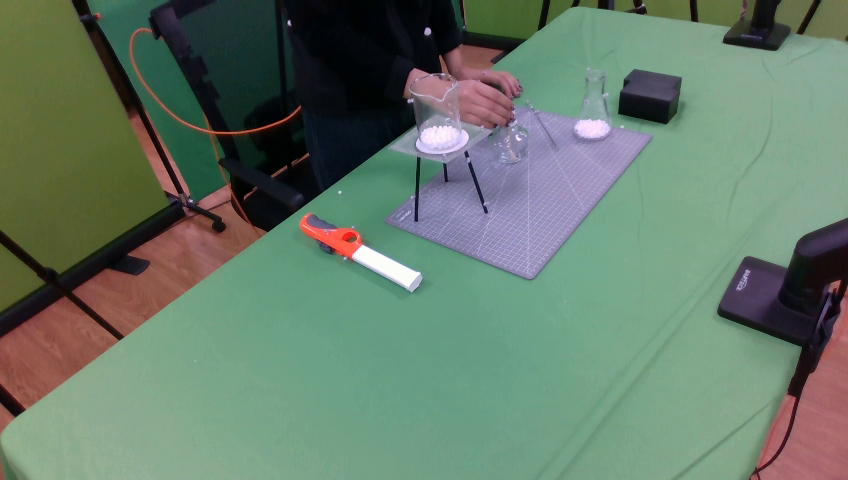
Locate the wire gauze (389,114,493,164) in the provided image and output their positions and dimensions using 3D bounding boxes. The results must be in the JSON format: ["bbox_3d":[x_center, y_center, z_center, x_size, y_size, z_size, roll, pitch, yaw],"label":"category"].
[{"bbox_3d":[0.027,-0.163,0.978,0.120,0.011,0.125,22,50,36],"label":"wire gauze"}]

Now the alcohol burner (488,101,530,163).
[{"bbox_3d":[0.157,-0.204,1.119,0.078,0.119,0.077,-5,38,5],"label":"alcohol burner"}]

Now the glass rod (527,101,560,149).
[{"bbox_3d":[0.240,-0.237,1.223,0.008,0.008,0.198,-12,40,-2],"label":"glass rod"}]

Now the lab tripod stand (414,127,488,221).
[{"bbox_3d":[0.035,-0.114,1.021,0.148,0.132,0.147,-7,39,6],"label":"lab tripod stand"}]

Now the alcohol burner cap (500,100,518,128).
[{"bbox_3d":[0.153,-0.231,1.095,0.034,0.048,0.033,-6,44,7],"label":"alcohol burner cap"}]

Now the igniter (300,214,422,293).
[{"bbox_3d":[-0.113,0.016,0.983,0.274,0.025,0.057,26,62,35],"label":"igniter"}]

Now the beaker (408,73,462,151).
[{"bbox_3d":[0.021,-0.196,0.943,0.074,0.101,0.083,-17,39,-7],"label":"beaker"}]

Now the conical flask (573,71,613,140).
[{"bbox_3d":[0.321,-0.256,1.142,0.075,0.122,0.075,-5,40,5],"label":"conical flask"}]
